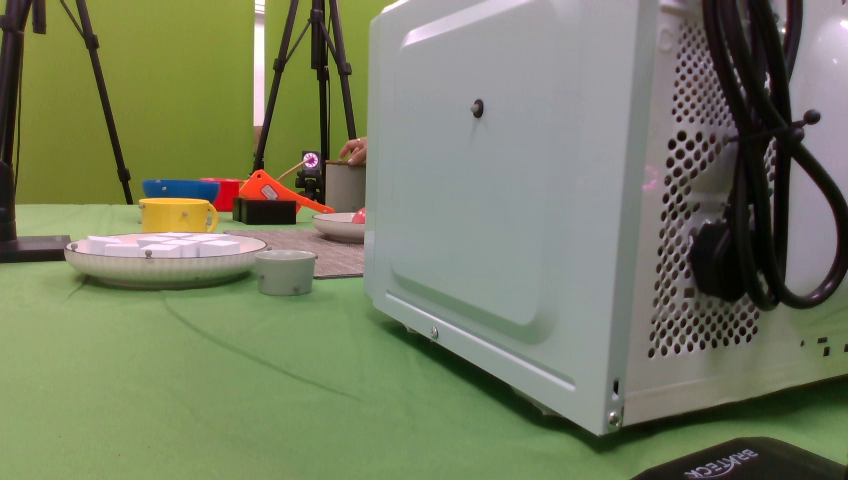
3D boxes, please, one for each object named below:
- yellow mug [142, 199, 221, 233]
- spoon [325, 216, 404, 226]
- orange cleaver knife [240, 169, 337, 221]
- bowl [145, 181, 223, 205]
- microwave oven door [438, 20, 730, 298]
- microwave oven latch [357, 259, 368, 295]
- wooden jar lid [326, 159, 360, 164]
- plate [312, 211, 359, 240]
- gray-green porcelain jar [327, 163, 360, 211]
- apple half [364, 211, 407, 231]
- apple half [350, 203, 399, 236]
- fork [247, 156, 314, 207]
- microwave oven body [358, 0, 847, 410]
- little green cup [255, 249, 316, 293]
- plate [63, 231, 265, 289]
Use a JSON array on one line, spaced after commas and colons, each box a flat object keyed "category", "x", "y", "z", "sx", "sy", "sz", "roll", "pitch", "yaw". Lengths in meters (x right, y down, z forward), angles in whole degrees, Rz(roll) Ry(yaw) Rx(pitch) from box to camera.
[{"category": "yellow mug", "x": -0.372, "y": -0.030, "z": 0.947, "sx": 0.099, "sy": 0.064, "sz": 0.131, "roll": 6, "pitch": 7, "yaw": 30}, {"category": "spoon", "x": -0.120, "y": -0.043, "z": 1.273, "sx": 0.195, "sy": 0.021, "sz": 0.041, "roll": -4, "pitch": -10, "yaw": -38}, {"category": "orange cleaver knife", "x": -0.287, "y": -0.082, "z": 1.298, "sx": 0.212, "sy": 0.077, "sz": 0.012, "roll": 25, "pitch": -2, "yaw": -31}, {"category": "bowl", "x": -0.499, "y": -0.081, "z": 1.261, "sx": 0.151, "sy": 0.077, "sz": 0.151, "roll": 2, "pitch": 8, "yaw": 0}, {"category": "microwave oven door", "x": 0.181, "y": -0.076, "z": 0.618, "sx": 0.358, "sy": 0.243, "sz": 0.039, "roll": -2, "pitch": 8, "yaw": -28}, {"category": "microwave oven latch", "x": -0.019, "y": 0.031, "z": 0.529, "sx": 0.079, "sy": 0.029, "sz": 0.030, "roll": -1, "pitch": 7, "yaw": -27}, {"category": "wooden jar lid", "x": -0.185, "y": -0.186, "z": 1.481, "sx": 0.108, "sy": 0.020, "sz": 0.108, "roll": 4, "pitch": 6, "yaw": 0}, {"category": "plate", "x": -0.091, "y": -0.026, "z": 1.063, "sx": 0.209, "sy": 0.038, "sz": 0.209, "roll": 2, "pitch": 7, "yaw": 0}, {"category": "gray-green porcelain jar", "x": -0.187, "y": -0.125, "z": 1.490, "sx": 0.106, "sy": 0.126, "sz": 0.106, "roll": 2, "pitch": 8, "yaw": 0}, {"category": "apple half", "x": -0.068, "y": -0.037, "z": 1.104, "sx": 0.081, "sy": 0.033, "sz": 0.081, "roll": 0, "pitch": 10, "yaw": 0}, {"category": "apple half", "x": -0.082, "y": -0.036, "z": 1.024, "sx": 0.081, "sy": 0.053, "sz": 0.074, "roll": -3, "pitch": 11, "yaw": -34}, {"category": "fork", "x": -0.360, "y": -0.147, "z": 1.523, "sx": 0.207, "sy": 0.018, "sz": 0.028, "roll": -43, "pitch": 15, "yaw": -7}, {"category": "microwave oven body", "x": 0.210, "y": -0.051, "z": 0.471, "sx": 0.444, "sy": 0.260, "sz": 0.324, "roll": -1, "pitch": 7, "yaw": -28}, {"category": "little green cup", "x": -0.144, "y": 0.031, "z": 0.627, "sx": 0.061, "sy": 0.038, "sz": 0.061, "roll": 2, "pitch": 6, "yaw": 0}, {"category": "plate", "x": -0.288, "y": 0.021, "z": 0.687, "sx": 0.208, "sy": 0.039, "sz": 0.207, "roll": 2, "pitch": 8, "yaw": 0}]
